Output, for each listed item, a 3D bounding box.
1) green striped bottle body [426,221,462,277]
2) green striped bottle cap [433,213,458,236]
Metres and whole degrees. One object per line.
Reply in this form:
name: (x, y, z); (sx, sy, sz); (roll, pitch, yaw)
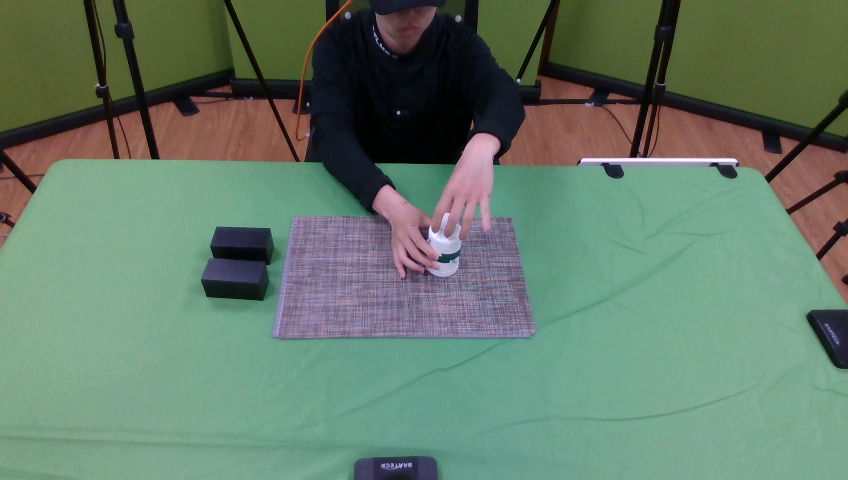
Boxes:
green striped bottle body: (0.037, 0.008, 1.121); (0.063, 0.120, 0.063); (2, 46, -2)
green striped bottle cap: (0.039, -0.028, 1.084); (0.044, 0.020, 0.044); (2, 40, -2)
